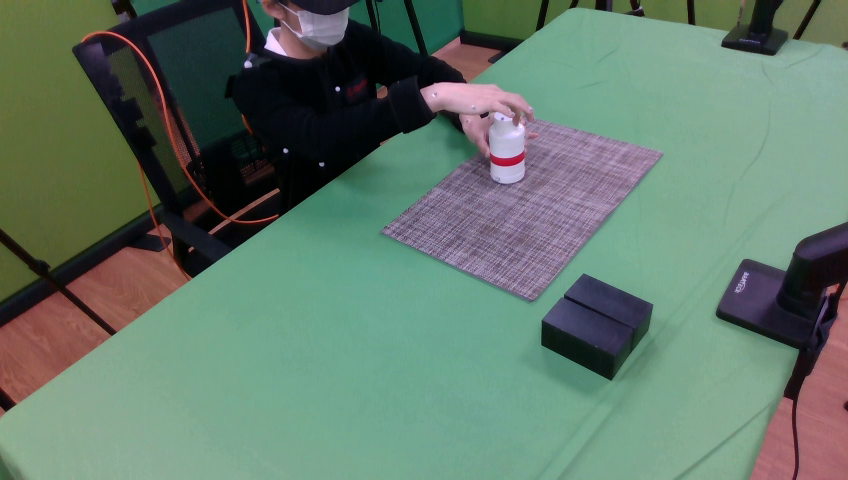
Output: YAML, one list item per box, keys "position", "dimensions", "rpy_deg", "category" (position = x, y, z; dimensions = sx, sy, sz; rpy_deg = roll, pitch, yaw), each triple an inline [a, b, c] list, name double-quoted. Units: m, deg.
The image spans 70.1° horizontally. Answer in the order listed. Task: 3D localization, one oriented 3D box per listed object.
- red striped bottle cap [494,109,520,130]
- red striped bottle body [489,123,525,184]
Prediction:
- position: [0.141, -0.206, 1.029]
  dimensions: [0.044, 0.018, 0.044]
  rpy_deg: [-6, 39, 5]
  category: "red striped bottle cap"
- position: [0.147, -0.164, 1.064]
  dimensions: [0.063, 0.120, 0.062]
  rpy_deg: [-5, 39, 4]
  category: "red striped bottle body"
